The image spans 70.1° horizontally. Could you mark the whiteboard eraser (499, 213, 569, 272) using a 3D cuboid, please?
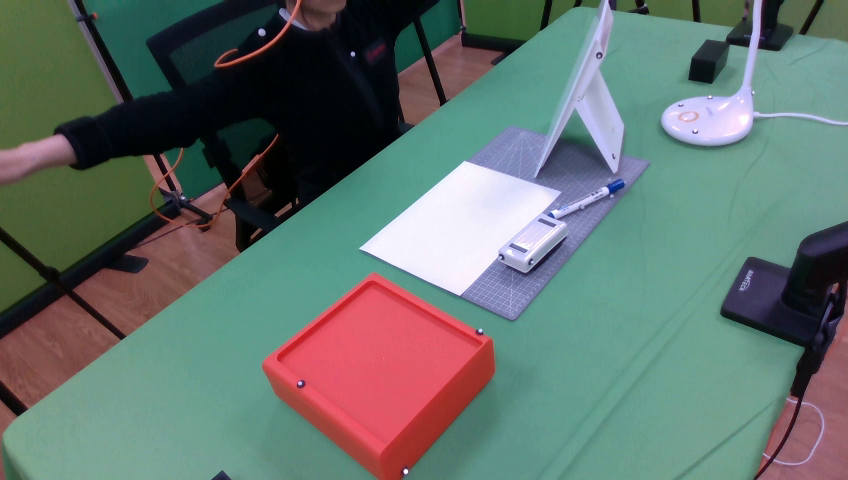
[{"bbox_3d":[0.168,0.006,0.923,0.055,0.042,0.113,29,53,34],"label":"whiteboard eraser"}]

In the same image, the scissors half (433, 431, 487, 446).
[{"bbox_3d":[0.000,0.234,0.706,0.176,0.040,0.012,11,25,-25],"label":"scissors half"}]

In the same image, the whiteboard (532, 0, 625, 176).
[{"bbox_3d":[0.320,-0.259,1.050,0.144,0.306,0.217,21,45,5],"label":"whiteboard"}]

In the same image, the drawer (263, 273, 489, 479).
[{"bbox_3d":[-0.057,0.159,0.759,0.210,0.073,0.195,27,51,34],"label":"drawer"}]

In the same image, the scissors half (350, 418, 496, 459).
[{"bbox_3d":[0.002,0.224,0.700,0.176,0.040,0.012,-5,38,-17],"label":"scissors half"}]

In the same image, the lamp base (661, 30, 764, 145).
[{"bbox_3d":[0.535,-0.287,1.096,0.179,0.181,0.159,-10,40,-4],"label":"lamp base"}]

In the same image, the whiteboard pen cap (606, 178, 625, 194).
[{"bbox_3d":[0.320,-0.090,1.016,0.033,0.018,0.018,-27,43,-14],"label":"whiteboard pen cap"}]

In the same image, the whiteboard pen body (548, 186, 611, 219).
[{"bbox_3d":[0.267,-0.066,1.004,0.141,0.017,0.017,-25,43,-13],"label":"whiteboard pen body"}]

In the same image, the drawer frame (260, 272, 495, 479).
[{"bbox_3d":[-0.055,0.159,0.758,0.212,0.083,0.202,26,50,33],"label":"drawer frame"}]
